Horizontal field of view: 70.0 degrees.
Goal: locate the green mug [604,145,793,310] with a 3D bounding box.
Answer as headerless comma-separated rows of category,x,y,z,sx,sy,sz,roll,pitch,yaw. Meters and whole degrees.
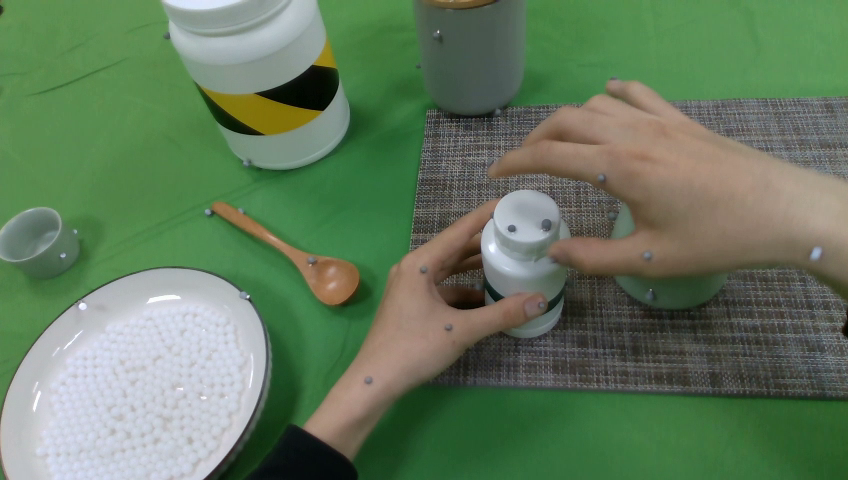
green mug,0.204,-0.004,0.453,0.125,0.106,0.092,9,57,13

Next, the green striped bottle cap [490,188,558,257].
green striped bottle cap,0.066,-0.012,0.400,0.044,0.020,0.044,-2,57,4

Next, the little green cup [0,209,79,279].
little green cup,-0.359,0.006,0.567,0.061,0.039,0.061,-4,55,5

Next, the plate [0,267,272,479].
plate,-0.217,0.117,0.473,0.209,0.038,0.207,-3,56,5

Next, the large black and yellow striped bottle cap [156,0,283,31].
large black and yellow striped bottle cap,-0.165,-0.215,0.500,0.115,0.019,0.114,-3,55,5

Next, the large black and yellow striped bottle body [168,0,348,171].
large black and yellow striped bottle body,-0.154,-0.169,0.569,0.130,0.186,0.129,-4,56,6

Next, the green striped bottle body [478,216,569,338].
green striped bottle body,0.073,0.020,0.445,0.063,0.120,0.062,-4,56,6

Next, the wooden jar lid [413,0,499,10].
wooden jar lid,0.036,-0.234,0.544,0.108,0.021,0.107,-6,54,8

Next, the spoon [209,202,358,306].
spoon,-0.132,0.004,0.547,0.192,0.022,0.041,30,83,24

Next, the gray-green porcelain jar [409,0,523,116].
gray-green porcelain jar,0.043,-0.195,0.593,0.106,0.128,0.105,-3,52,5
